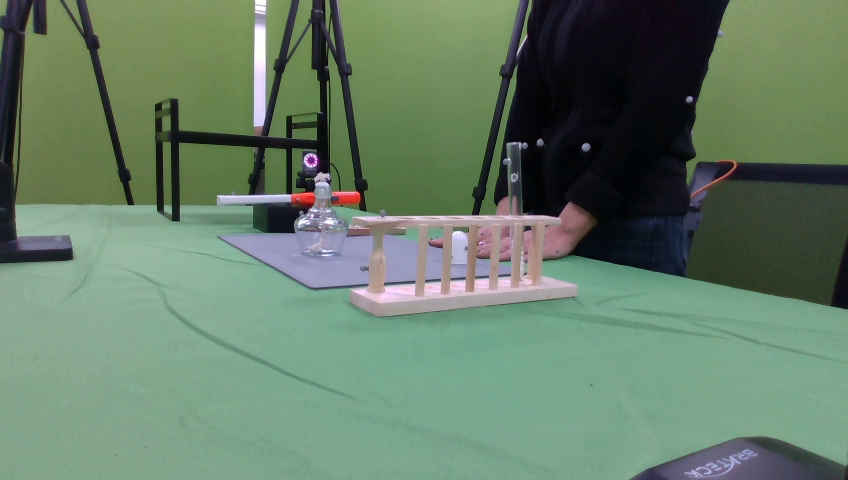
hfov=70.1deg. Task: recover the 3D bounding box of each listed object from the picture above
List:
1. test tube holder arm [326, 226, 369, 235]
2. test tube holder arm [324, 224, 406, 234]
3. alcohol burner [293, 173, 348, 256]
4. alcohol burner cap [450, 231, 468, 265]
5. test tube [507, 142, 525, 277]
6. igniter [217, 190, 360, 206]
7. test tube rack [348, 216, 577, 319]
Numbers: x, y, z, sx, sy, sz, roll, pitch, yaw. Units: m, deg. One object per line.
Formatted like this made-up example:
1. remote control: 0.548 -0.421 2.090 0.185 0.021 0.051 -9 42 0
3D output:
1. test tube holder arm: -0.136 -0.017 1.085 0.088 0.015 0.010 0 30 -42
2. test tube holder arm: -0.105 -0.020 1.120 0.179 0.015 0.013 0 30 -43
3. alcohol burner: -0.147 -0.036 0.859 0.078 0.119 0.078 4 8 0
4. alcohol burner cap: 0.046 0.011 0.838 0.034 0.048 0.034 2 6 0
5. test tube: 0.101 -0.032 0.664 0.017 0.150 0.017 -3 9 1
6. igniter: -0.248 -0.080 1.150 0.278 0.025 0.057 -5 7 -29
7. test tube rack: 0.048 0.021 0.619 0.244 0.085 0.066 -2 8 -31
